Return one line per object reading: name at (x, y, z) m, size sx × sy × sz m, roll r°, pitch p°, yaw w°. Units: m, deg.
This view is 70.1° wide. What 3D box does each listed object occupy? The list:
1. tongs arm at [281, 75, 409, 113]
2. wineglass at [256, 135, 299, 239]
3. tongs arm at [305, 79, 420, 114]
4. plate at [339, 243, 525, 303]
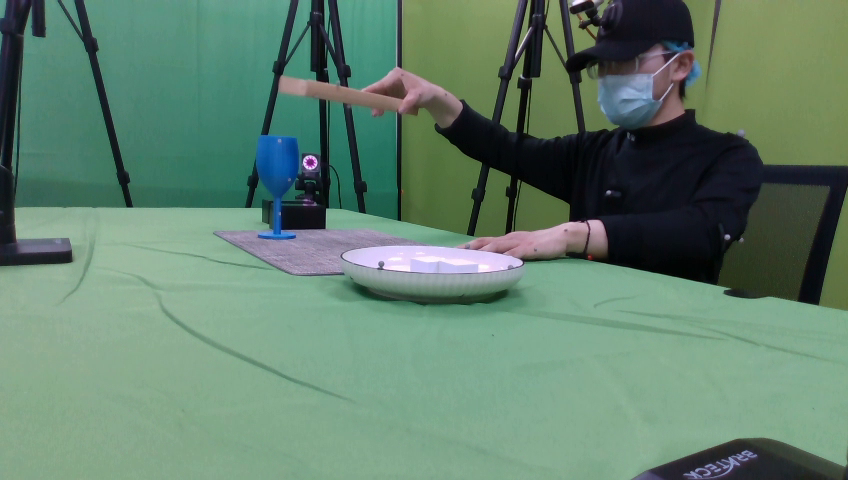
tongs arm at (-0.126, -0.258, 1.086) m, size 0.028 × 0.028 × 0.389 m, roll 10°, pitch 11°, yaw 25°
wineglass at (-0.252, -0.091, 1.036) m, size 0.074 × 0.172 × 0.073 m, roll 3°, pitch 7°, yaw 0°
tongs arm at (-0.100, -0.251, 1.074) m, size 0.050 × 0.026 × 0.386 m, roll 15°, pitch 13°, yaw 27°
plate at (0.008, 0.035, 0.682) m, size 0.209 × 0.038 × 0.209 m, roll 3°, pitch 7°, yaw 0°
